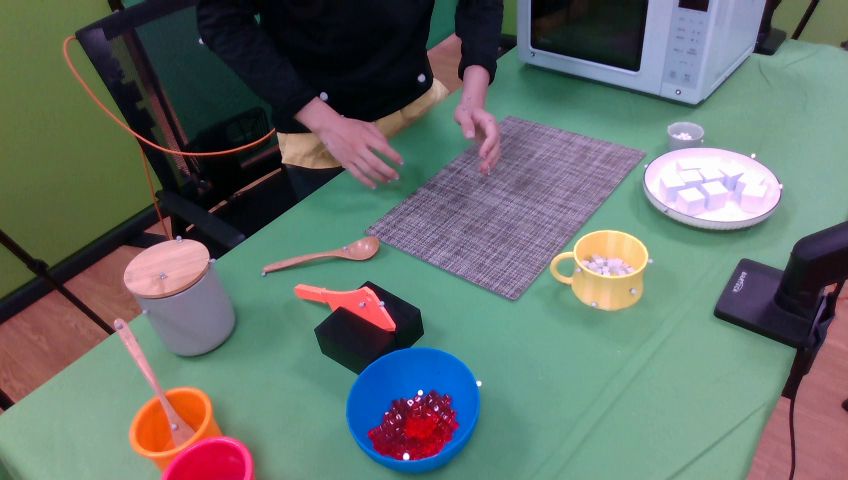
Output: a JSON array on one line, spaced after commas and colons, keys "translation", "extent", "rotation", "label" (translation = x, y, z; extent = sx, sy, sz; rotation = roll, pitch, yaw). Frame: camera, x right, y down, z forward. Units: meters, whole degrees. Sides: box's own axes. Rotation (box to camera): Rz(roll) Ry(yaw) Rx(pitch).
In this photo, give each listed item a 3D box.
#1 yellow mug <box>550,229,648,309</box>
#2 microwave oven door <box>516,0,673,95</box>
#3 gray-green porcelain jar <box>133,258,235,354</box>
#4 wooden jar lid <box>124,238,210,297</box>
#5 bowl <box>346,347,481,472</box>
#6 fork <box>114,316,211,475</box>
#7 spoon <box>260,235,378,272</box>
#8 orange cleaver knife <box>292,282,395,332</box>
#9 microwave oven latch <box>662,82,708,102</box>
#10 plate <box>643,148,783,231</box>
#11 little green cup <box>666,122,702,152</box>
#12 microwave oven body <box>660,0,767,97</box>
[{"translation": [0.245, 0.040, 0.857], "extent": [0.130, 0.064, 0.099], "rotation": [1, 42, 11], "label": "yellow mug"}, {"translation": [0.344, -0.458, 1.256], "extent": [0.353, 0.245, 0.039], "rotation": [26, 51, 33], "label": "microwave oven door"}, {"translation": [-0.328, 0.086, 0.836], "extent": [0.106, 0.127, 0.105], "rotation": [-4, 41, 4], "label": "gray-green porcelain jar"}, {"translation": [-0.335, 0.039, 0.794], "extent": [0.108, 0.021, 0.108], "rotation": [-2, 40, 2], "label": "wooden jar lid"}, {"translation": [-0.008, 0.205, 0.691], "extent": [0.151, 0.077, 0.150], "rotation": [-4, 40, 4], "label": "bowl"}, {"translation": [-0.309, 0.180, 0.708], "extent": [0.028, 0.018, 0.207], "rotation": [-29, 89, -25], "label": "fork"}, {"translation": [-0.167, 0.024, 0.966], "extent": [0.194, 0.022, 0.041], "rotation": [-10, 58, -3], "label": "spoon"}, {"translation": [-0.116, 0.091, 0.835], "extent": [0.209, 0.077, 0.012], "rotation": [2, 32, 48], "label": "orange cleaver knife"}, {"translation": [0.517, -0.298, 1.202], "extent": [0.078, 0.029, 0.030], "rotation": [27, 52, 34], "label": "microwave oven latch"}, {"translation": [0.464, -0.080, 0.986], "extent": [0.207, 0.039, 0.206], "rotation": [-4, 40, 4], "label": "plate"}, {"translation": [0.471, -0.184, 1.102], "extent": [0.061, 0.039, 0.061], "rotation": [-5, 41, 5], "label": "little green cup"}, {"translation": [0.473, -0.516, 1.313], "extent": [0.438, 0.261, 0.327], "rotation": [26, 51, 34], "label": "microwave oven body"}]
